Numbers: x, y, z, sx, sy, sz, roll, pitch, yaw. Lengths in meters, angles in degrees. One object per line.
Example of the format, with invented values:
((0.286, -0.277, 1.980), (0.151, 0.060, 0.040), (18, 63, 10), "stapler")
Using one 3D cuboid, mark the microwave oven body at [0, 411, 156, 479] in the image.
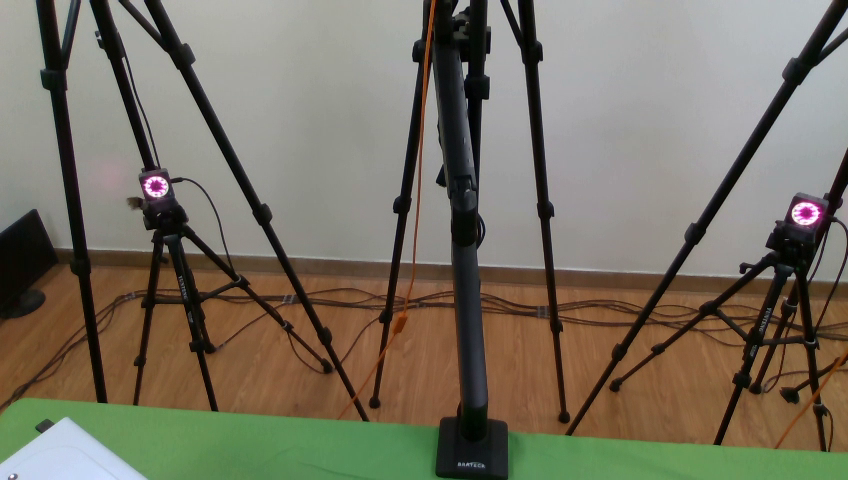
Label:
((-0.473, 0.471, 0.665), (0.323, 0.262, 0.441), (21, 42, 26), "microwave oven body")
